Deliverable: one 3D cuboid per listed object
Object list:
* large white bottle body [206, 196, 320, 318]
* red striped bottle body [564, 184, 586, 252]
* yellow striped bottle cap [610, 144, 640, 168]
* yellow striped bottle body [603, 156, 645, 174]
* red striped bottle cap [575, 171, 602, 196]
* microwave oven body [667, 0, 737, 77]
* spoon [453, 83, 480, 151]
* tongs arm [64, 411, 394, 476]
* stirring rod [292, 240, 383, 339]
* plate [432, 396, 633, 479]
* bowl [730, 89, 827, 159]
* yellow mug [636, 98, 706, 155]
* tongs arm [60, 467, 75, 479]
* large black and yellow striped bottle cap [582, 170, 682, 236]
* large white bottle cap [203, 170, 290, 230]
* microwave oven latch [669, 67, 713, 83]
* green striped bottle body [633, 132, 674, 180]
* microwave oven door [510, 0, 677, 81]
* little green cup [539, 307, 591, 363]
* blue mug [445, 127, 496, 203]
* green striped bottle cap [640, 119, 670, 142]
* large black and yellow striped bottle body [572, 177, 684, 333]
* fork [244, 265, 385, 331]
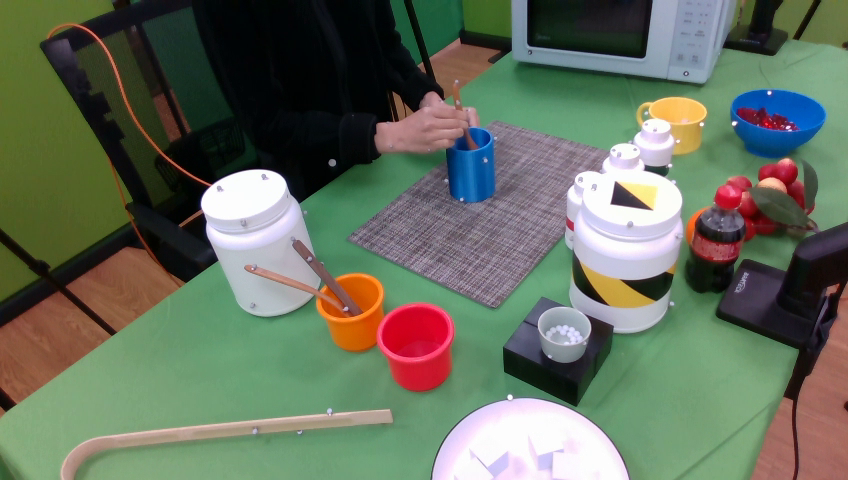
[{"bbox_3d":[-0.233,0.008,0.876,0.130,0.185,0.130,-4,40,4],"label":"large white bottle body"},{"bbox_3d":[0.247,-0.041,0.910,0.063,0.120,0.062,-3,39,3],"label":"red striped bottle body"},{"bbox_3d":[0.307,-0.128,0.923,0.044,0.019,0.044,-5,39,5],"label":"yellow striped bottle cap"},{"bbox_3d":[0.313,-0.089,0.956,0.063,0.121,0.062,-4,40,4],"label":"yellow striped bottle body"},{"bbox_3d":[0.242,-0.081,0.876,0.044,0.018,0.044,-5,44,5],"label":"red striped bottle cap"},{"bbox_3d":[0.462,-0.552,1.369,0.439,0.261,0.326,15,45,26],"label":"microwave oven body"},{"bbox_3d":[0.073,-0.177,1.005,0.021,0.195,0.041,18,58,37],"label":"spoon"},{"bbox_3d":[-0.228,0.241,0.715,0.385,0.026,0.050,-5,43,4],"label":"tongs arm"},{"bbox_3d":[-0.118,0.068,0.826,0.176,0.006,0.014,49,59,-4],"label":"stirring rod"},{"bbox_3d":[0.112,0.261,0.634,0.209,0.038,0.208,-5,40,4],"label":"plate"},{"bbox_3d":[0.615,-0.197,1.069,0.151,0.077,0.150,-5,40,4],"label":"bowl"},{"bbox_3d":[0.453,-0.217,1.128,0.100,0.064,0.129,-34,46,-27],"label":"yellow mug"},{"bbox_3d":[-0.239,0.301,0.648,0.386,0.028,0.028,6,49,16],"label":"tongs arm"},{"bbox_3d":[0.252,-0.048,0.735,0.115,0.019,0.114,-3,40,3],"label":"large black and yellow striped bottle cap"},{"bbox_3d":[-0.241,-0.057,0.822,0.115,0.018,0.114,-4,41,4],"label":"large white bottle cap"},{"bbox_3d":[0.556,-0.348,1.262,0.078,0.029,0.030,16,46,27],"label":"microwave oven latch"},{"bbox_3d":[0.376,-0.135,1.001,0.063,0.120,0.063,-5,40,5],"label":"green striped bottle body"},{"bbox_3d":[0.354,-0.478,1.290,0.353,0.245,0.039,15,45,25],"label":"microwave oven door"},{"bbox_3d":[0.167,0.114,0.721,0.061,0.039,0.061,-4,43,4],"label":"little green cup"},{"bbox_3d":[0.082,-0.140,1.059,0.082,0.106,0.116,-4,40,5],"label":"blue mug"},{"bbox_3d":[0.370,-0.174,0.968,0.044,0.020,0.044,-3,41,3],"label":"green striped bottle cap"},{"bbox_3d":[0.262,0.017,0.788,0.131,0.185,0.130,-5,40,4],"label":"large black and yellow striped bottle body"},{"bbox_3d":[-0.142,0.078,0.806,0.209,0.018,0.028,30,33,-23],"label":"fork"}]
